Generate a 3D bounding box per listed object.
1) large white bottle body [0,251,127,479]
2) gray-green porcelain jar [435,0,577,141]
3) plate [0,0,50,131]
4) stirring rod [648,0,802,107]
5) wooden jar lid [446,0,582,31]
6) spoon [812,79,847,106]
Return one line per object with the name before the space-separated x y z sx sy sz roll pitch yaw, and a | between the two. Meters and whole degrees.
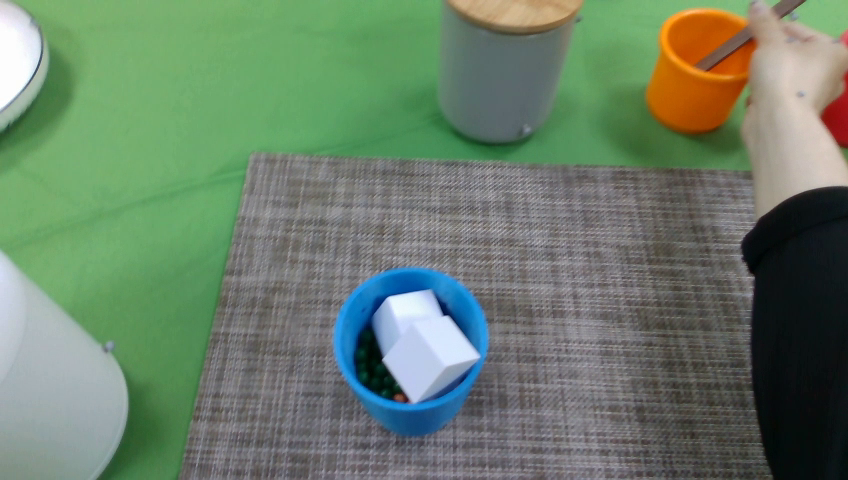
large white bottle body | -0.256 0.072 0.317 0.131 0.186 0.129 1 58 -2
gray-green porcelain jar | 0.063 -0.156 0.508 0.106 0.127 0.105 1 58 -1
plate | -0.433 -0.141 0.528 0.208 0.039 0.205 1 58 -2
stirring rod | 0.270 -0.174 0.519 0.176 0.006 0.014 -37 50 28
wooden jar lid | 0.065 -0.188 0.455 0.108 0.021 0.107 2 55 -2
spoon | 0.425 -0.130 0.498 0.041 0.022 0.192 -39 23 -22
